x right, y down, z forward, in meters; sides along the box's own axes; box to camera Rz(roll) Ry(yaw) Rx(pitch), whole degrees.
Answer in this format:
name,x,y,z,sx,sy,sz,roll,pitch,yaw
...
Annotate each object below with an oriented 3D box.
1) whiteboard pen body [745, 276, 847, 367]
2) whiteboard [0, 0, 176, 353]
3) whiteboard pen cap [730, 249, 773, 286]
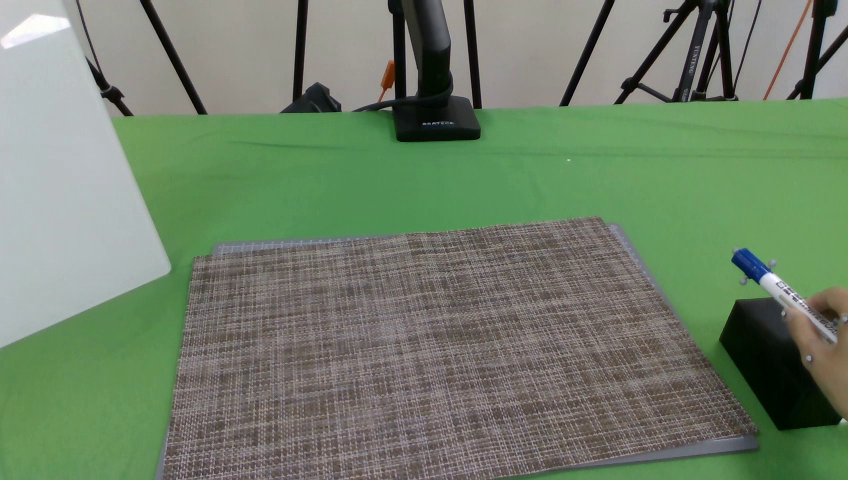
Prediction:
name,x,y,z,sx,sy,sz,roll,pitch,yaw
whiteboard pen body,0.301,0.063,0.476,0.017,0.017,0.139,-10,34,-14
whiteboard,-0.401,-0.072,0.540,0.217,0.307,0.142,-28,27,-33
whiteboard pen cap,0.278,0.023,0.514,0.018,0.018,0.033,-12,42,-17
